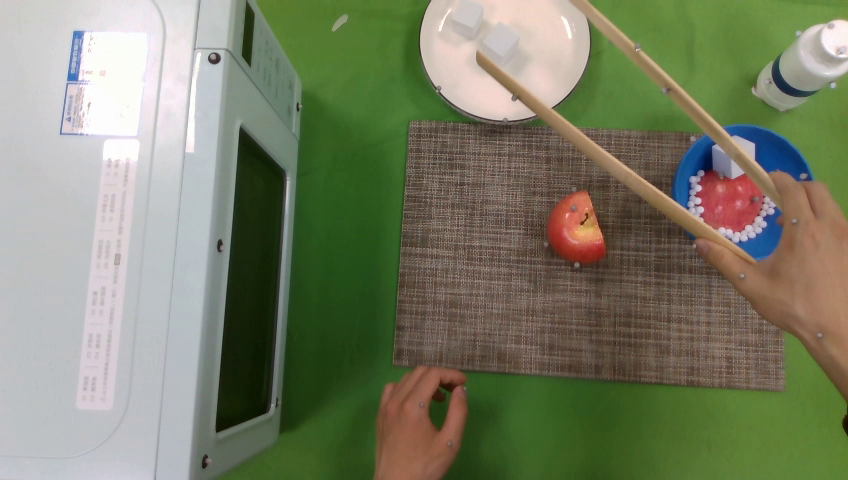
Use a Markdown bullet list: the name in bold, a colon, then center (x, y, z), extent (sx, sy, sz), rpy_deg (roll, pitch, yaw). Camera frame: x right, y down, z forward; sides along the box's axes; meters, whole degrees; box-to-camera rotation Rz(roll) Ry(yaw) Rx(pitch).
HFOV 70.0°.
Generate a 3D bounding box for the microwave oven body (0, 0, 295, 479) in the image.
- **microwave oven body**: center (-0.323, -0.012, 0.612), extent (0.326, 0.261, 0.440), rpy_deg (1, 83, 2)

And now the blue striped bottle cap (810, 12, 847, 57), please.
- **blue striped bottle cap**: center (0.432, -0.215, 0.634), extent (0.044, 0.020, 0.044), rpy_deg (0, 85, 2)

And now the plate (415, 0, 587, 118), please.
- **plate**: center (0.093, -0.246, 0.745), extent (0.207, 0.039, 0.207), rpy_deg (0, 82, 2)

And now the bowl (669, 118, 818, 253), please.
- **bowl**: center (0.345, -0.054, 0.684), extent (0.151, 0.077, 0.151), rpy_deg (0, 82, 3)

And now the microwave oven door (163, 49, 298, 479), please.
- **microwave oven door**: center (-0.179, 0.032, 0.596), extent (0.039, 0.244, 0.354), rpy_deg (1, 82, 3)

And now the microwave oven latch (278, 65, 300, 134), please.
- **microwave oven latch**: center (-0.165, -0.169, 0.725), extent (0.030, 0.029, 0.079), rpy_deg (1, 83, 2)

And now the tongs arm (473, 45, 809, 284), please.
- **tongs arm**: center (0.182, -0.084, 0.581), extent (0.028, 0.028, 0.384), rpy_deg (-41, 65, -12)

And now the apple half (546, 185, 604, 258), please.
- **apple half**: center (0.166, -0.016, 0.689), extent (0.053, 0.075, 0.080), rpy_deg (-16, 85, 3)

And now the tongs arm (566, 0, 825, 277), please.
- **tongs arm**: center (0.237, -0.125, 0.586), extent (0.051, 0.027, 0.381), rpy_deg (-34, 65, -5)

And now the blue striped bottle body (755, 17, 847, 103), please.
- **blue striped bottle body**: center (0.434, -0.206, 0.684), extent (0.063, 0.121, 0.063), rpy_deg (0, 81, 3)

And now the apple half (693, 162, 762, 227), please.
- **apple half**: center (0.346, -0.054, 0.680), extent (0.081, 0.033, 0.081), rpy_deg (0, 81, 3)
